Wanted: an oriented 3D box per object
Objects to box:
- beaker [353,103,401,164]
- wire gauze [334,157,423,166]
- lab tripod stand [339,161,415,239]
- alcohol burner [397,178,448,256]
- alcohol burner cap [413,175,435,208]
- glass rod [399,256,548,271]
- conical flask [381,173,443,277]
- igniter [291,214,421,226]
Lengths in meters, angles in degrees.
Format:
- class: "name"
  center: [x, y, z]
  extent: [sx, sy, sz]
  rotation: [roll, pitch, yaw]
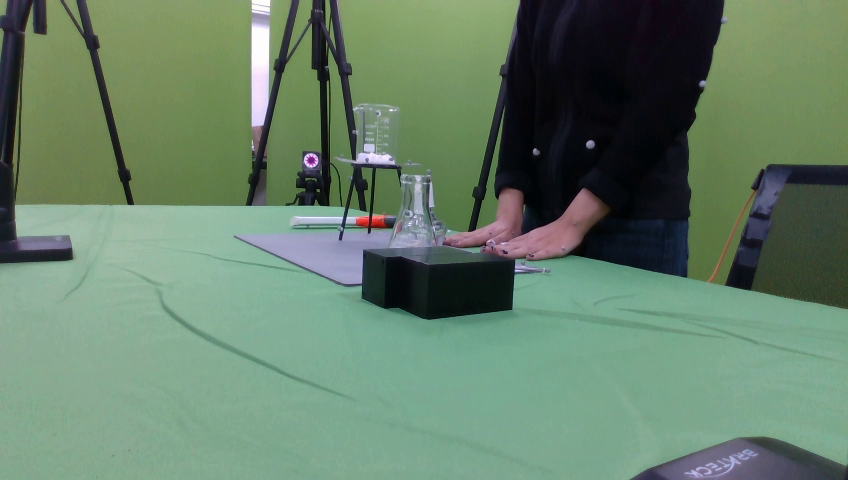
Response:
- class: "beaker"
  center: [-0.084, -0.183, 1.045]
  extent: [0.084, 0.100, 0.074]
  rotation: [4, 7, 3]
- class: "wire gauze"
  center: [-0.081, -0.135, 1.051]
  extent: [0.122, 0.011, 0.124]
  rotation: [2, 5, -30]
- class: "lab tripod stand"
  center: [-0.082, -0.070, 1.059]
  extent: [0.148, 0.131, 0.148]
  rotation: [4, 6, 0]
- class: "alcohol burner"
  center: [-0.001, -0.037, 0.903]
  extent: [0.078, 0.119, 0.078]
  rotation: [4, 9, 0]
- class: "alcohol burner cap"
  center: [-0.001, -0.072, 0.898]
  extent: [0.034, 0.048, 0.034]
  rotation: [-3, 10, 1]
- class: "glass rod"
  center: [0.064, 0.030, 0.806]
  extent: [0.199, 0.008, 0.008]
  rotation: [4, 7, 10]
- class: "conical flask"
  center: [-0.012, -0.020, 0.731]
  extent: [0.075, 0.122, 0.075]
  rotation: [2, 7, 0]
- class: "igniter"
  center: [-0.135, -0.041, 1.250]
  extent: [0.278, 0.025, 0.057]
  rotation: [-1, -3, -28]
